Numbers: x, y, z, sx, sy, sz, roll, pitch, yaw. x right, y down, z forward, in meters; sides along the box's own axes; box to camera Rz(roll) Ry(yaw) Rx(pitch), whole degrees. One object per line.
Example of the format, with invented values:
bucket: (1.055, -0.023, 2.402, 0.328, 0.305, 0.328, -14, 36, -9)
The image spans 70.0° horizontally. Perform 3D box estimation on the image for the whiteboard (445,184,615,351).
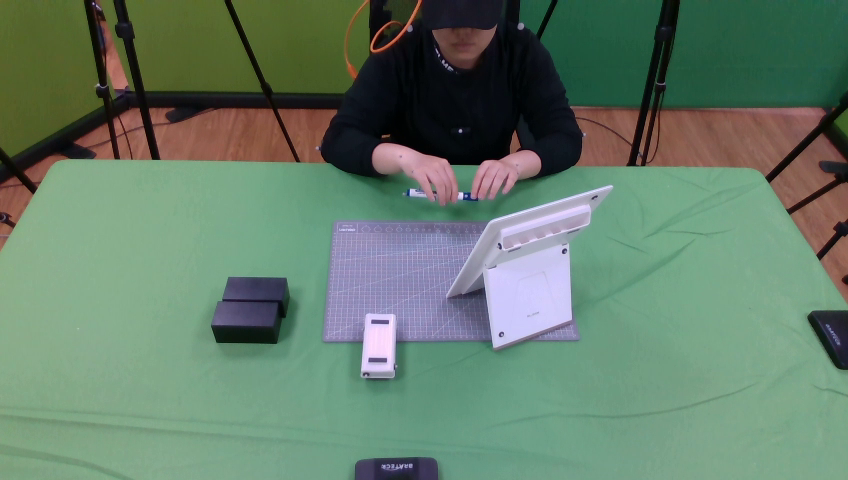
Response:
whiteboard: (0.187, 0.065, 0.989, 0.217, 0.306, 0.143, -15, 68, -18)

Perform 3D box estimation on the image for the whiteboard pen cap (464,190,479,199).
whiteboard pen cap: (0.096, -0.090, 1.215, 0.018, 0.018, 0.033, 41, 25, 30)

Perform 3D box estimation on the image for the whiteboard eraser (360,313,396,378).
whiteboard eraser: (-0.075, 0.176, 1.006, 0.055, 0.042, 0.112, 3, 50, -4)

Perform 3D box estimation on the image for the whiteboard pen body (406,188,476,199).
whiteboard pen body: (0.035, -0.092, 1.210, 0.141, 0.017, 0.017, 4, 46, -3)
